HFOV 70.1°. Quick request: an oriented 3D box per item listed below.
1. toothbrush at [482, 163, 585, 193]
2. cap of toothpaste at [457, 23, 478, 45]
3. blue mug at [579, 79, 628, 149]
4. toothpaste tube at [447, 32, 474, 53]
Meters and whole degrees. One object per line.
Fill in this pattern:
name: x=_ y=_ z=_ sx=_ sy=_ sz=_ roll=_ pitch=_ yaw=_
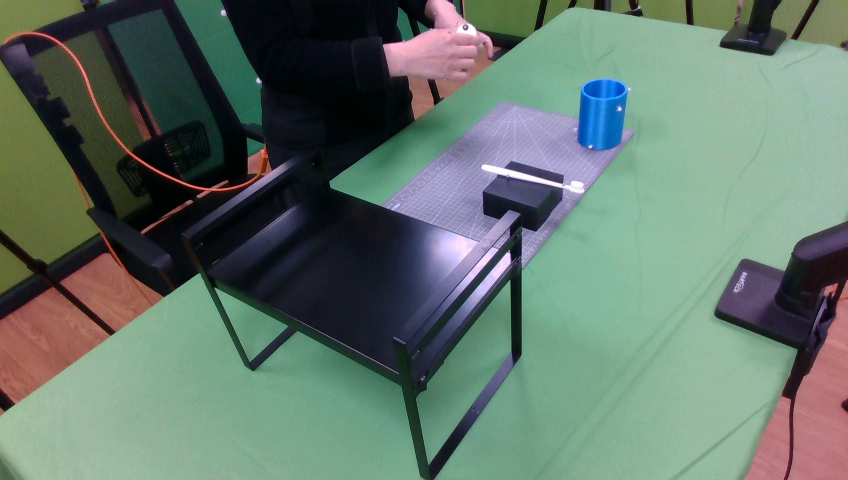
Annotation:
toothbrush: x=0.178 y=-0.105 z=0.997 sx=0.180 sy=0.017 sz=0.014 roll=17 pitch=51 yaw=26
cap of toothpaste: x=0.075 y=-0.355 z=1.042 sx=0.037 sy=0.037 sz=0.011 roll=-9 pitch=11 yaw=-2
blue mug: x=0.336 y=-0.246 z=1.143 sx=0.082 sy=0.106 sz=0.116 roll=0 pitch=41 yaw=10
toothpaste tube: x=0.075 y=-0.367 z=1.120 sx=0.055 sy=0.034 sz=0.164 roll=19 pitch=9 yaw=-5
